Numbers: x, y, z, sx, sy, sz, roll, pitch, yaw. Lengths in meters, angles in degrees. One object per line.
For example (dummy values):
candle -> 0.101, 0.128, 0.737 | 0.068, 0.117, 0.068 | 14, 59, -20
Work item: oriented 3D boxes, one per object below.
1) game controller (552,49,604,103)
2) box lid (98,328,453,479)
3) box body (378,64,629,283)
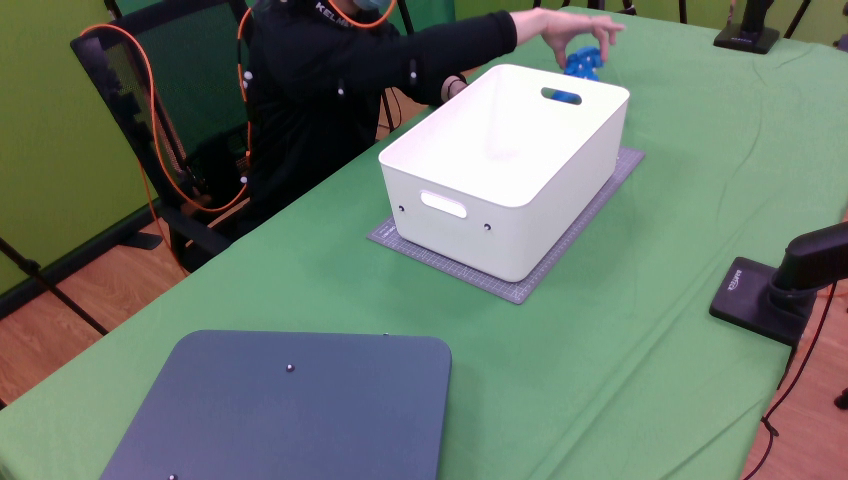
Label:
game controller -> 0.314, -0.337, 1.236 | 0.096, 0.052, 0.155 | -1, 47, 25
box lid -> -0.156, 0.209, 0.690 | 0.371, 0.015, 0.262 | 1, 41, 9
box body -> 0.137, -0.121, 0.978 | 0.252, 0.161, 0.365 | 22, 48, 30
